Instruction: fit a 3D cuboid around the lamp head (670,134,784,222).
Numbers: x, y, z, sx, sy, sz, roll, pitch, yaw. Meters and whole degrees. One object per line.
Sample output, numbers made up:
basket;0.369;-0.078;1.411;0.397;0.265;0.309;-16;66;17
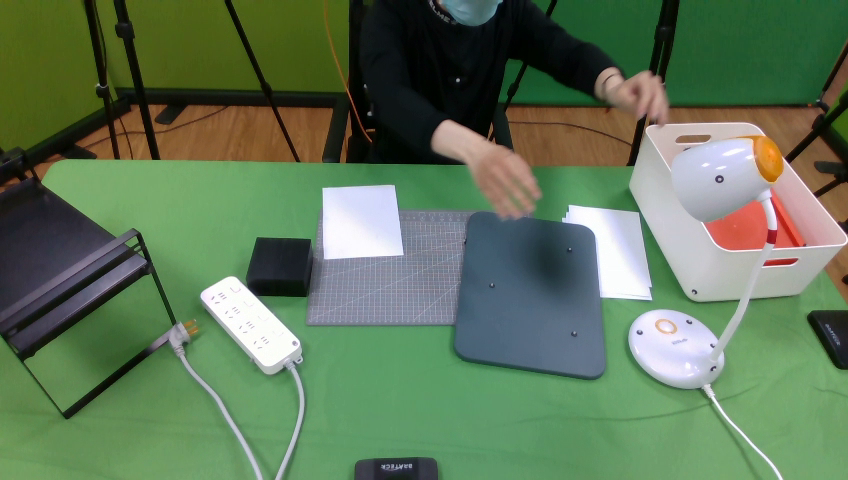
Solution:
lamp head;0.422;-0.089;0.829;0.113;0.123;0.112;8;74;-32

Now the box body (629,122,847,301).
box body;0.593;-0.062;1.202;0.254;0.161;0.361;-3;47;-7

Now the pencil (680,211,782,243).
pencil;0.598;-0.028;1.185;0.194;0.012;0.012;18;48;10

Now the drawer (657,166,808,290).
drawer;0.582;-0.025;1.162;0.194;0.073;0.210;-12;55;3

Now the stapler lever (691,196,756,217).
stapler lever;0.586;-0.066;1.183;0.118;0.040;0.026;2;59;13

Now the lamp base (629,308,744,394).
lamp base;0.446;0.139;0.987;0.161;0.181;0.178;-18;53;-20

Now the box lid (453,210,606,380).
box lid;0.200;0.085;1.138;0.263;0.015;0.369;8;47;3

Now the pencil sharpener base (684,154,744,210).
pencil sharpener base;0.619;-0.124;1.293;0.077;0.107;0.061;-8;48;-12

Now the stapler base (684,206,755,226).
stapler base;0.588;-0.052;1.203;0.130;0.024;0.041;2;59;11

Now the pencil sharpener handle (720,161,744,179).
pencil sharpener handle;0.667;-0.147;1.299;0.031;0.068;0.036;-8;80;-12

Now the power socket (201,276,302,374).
power socket;-0.297;0.141;1.034;0.072;0.033;0.225;-34;58;-30

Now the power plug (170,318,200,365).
power plug;-0.392;0.167;1.013;0.052;0.035;0.072;-31;89;-23

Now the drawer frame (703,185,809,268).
drawer frame;0.584;-0.023;1.160;0.202;0.083;0.212;-12;56;3
